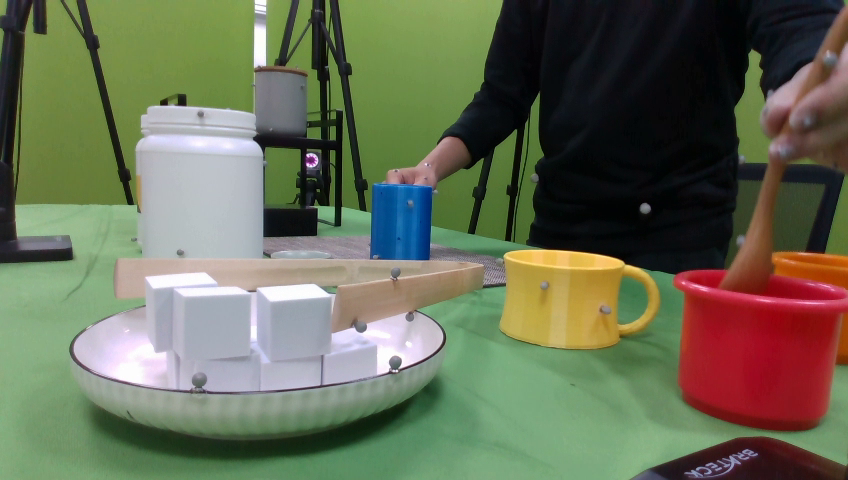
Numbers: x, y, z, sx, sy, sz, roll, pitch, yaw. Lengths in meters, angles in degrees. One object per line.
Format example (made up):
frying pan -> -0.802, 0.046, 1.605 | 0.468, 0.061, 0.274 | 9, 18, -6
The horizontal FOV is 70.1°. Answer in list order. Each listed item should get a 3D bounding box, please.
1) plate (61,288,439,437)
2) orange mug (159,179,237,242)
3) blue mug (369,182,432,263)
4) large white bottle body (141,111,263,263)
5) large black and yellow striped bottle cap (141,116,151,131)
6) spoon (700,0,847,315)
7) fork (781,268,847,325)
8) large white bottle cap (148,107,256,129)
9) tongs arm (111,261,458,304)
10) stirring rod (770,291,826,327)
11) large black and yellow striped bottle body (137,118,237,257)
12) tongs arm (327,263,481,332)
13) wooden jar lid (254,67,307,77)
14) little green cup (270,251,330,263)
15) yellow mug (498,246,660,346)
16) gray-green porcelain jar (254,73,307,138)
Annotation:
plate -> -0.095, 0.069, 0.362 | 0.208, 0.039, 0.207 | 3, 7, 0
orange mug -> -0.368, -0.051, 0.991 | 0.127, 0.101, 0.083 | -10, 14, -41
blue mug -> -0.027, -0.027, 0.837 | 0.082, 0.106, 0.117 | 4, 7, 17
large white bottle body -> -0.254, -0.053, 0.697 | 0.131, 0.184, 0.130 | 2, 7, 0
large black and yellow striped bottle cap -> -0.329, -0.158, 0.837 | 0.115, 0.019, 0.115 | 2, 6, 0
spoon -> 0.203, -0.038, 0.351 | 0.042, 0.193, 0.021 | -1, 22, -23
fork -> 0.324, 0.018, 0.441 | 0.028, 0.018, 0.207 | -1, -36, -4
large white bottle cap -> -0.250, -0.137, 0.686 | 0.115, 0.018, 0.115 | 2, 8, 0
tongs arm -> -0.080, 0.032, 0.527 | 0.028, 0.027, 0.389 | -3, -3, 33
stirring rod -> 0.349, 0.022, 0.468 | 0.014, 0.006, 0.175 | -12, -26, -50
large black and yellow striped bottle body -> -0.330, -0.075, 0.849 | 0.131, 0.184, 0.130 | 2, 8, 0
tongs arm -> -0.003, 0.036, 0.493 | 0.050, 0.026, 0.386 | 1, -1, 19
wooden jar lid -> -0.296, -0.339, 1.251 | 0.108, 0.020, 0.108 | 2, 7, 0
little green cup -> -0.129, 0.034, 0.629 | 0.061, 0.038, 0.061 | 3, 6, 0
yellow mug -> 0.130, 0.045, 0.508 | 0.131, 0.064, 0.100 | 4, 7, 6
gray-green porcelain jar -> -0.298, -0.277, 1.259 | 0.106, 0.126, 0.106 | 3, 8, 0
